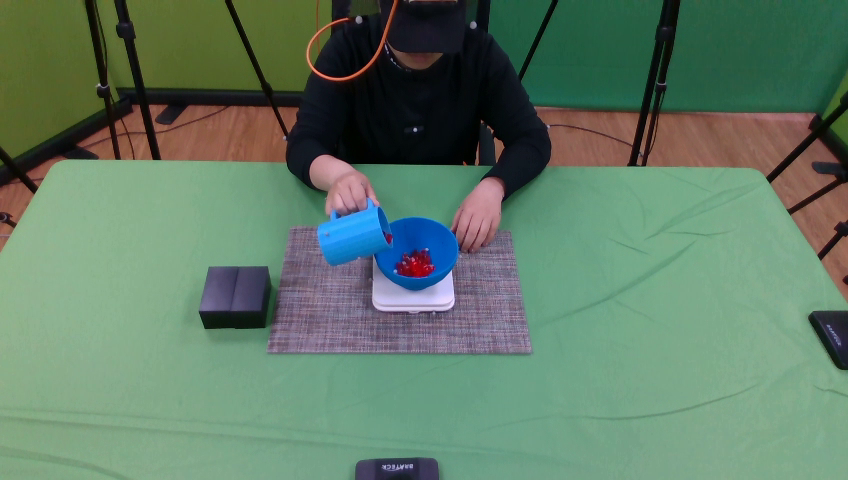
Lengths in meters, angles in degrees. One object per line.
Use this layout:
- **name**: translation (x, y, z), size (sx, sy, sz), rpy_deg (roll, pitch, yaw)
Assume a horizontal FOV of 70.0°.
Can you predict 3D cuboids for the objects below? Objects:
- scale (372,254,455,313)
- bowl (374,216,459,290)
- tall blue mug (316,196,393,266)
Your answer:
- **scale**: translation (-0.022, 0.051, 1.134), size (0.149, 0.032, 0.199), rpy_deg (1, 46, -4)
- **bowl**: translation (-0.015, 0.036, 1.075), size (0.151, 0.077, 0.150), rpy_deg (2, 46, -1)
- **tall blue mug**: translation (-0.120, -0.022, 1.018), size (0.108, 0.078, 0.107), rpy_deg (-17, 88, 9)
